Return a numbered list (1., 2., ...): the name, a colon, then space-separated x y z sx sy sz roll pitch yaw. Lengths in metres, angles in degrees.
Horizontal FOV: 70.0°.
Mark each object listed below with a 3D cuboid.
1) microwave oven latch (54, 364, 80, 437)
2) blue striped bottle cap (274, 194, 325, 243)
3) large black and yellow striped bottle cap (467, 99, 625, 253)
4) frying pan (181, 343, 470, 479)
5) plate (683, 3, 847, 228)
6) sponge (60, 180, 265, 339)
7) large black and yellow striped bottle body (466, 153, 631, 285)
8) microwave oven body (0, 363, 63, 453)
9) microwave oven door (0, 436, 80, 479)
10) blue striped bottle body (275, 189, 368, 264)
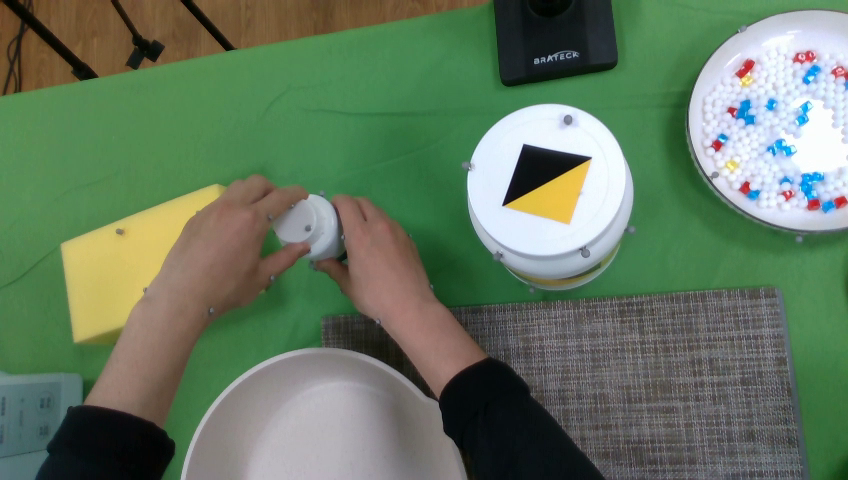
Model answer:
1. microwave oven latch: -0.407 0.179 0.680 0.030 0.029 0.079 -5 81 13
2. blue striped bottle cap: -0.116 -0.020 0.560 0.044 0.021 0.044 -3 81 18
3. large black and yellow striped bottle cap: 0.089 -0.047 0.446 0.115 0.019 0.114 -2 83 14
4. frying pan: -0.041 0.327 0.548 0.307 0.103 0.483 -35 67 8
5. plate: 0.347 -0.111 0.554 0.208 0.038 0.208 -2 81 14
6. sponge: -0.295 0.027 0.683 0.207 0.061 0.117 -19 78 10
7. large black and yellow striped bottle body: 0.109 -0.033 0.526 0.130 0.185 0.130 -2 80 14
8. microwave oven body: -0.567 0.351 0.594 0.325 0.261 0.440 -5 81 13
9. microwave oven door: -0.425 0.379 0.549 0.039 0.245 0.354 -5 80 14
10. blue striped bottle body: -0.105 -0.013 0.610 0.063 0.121 0.063 -2 81 13
